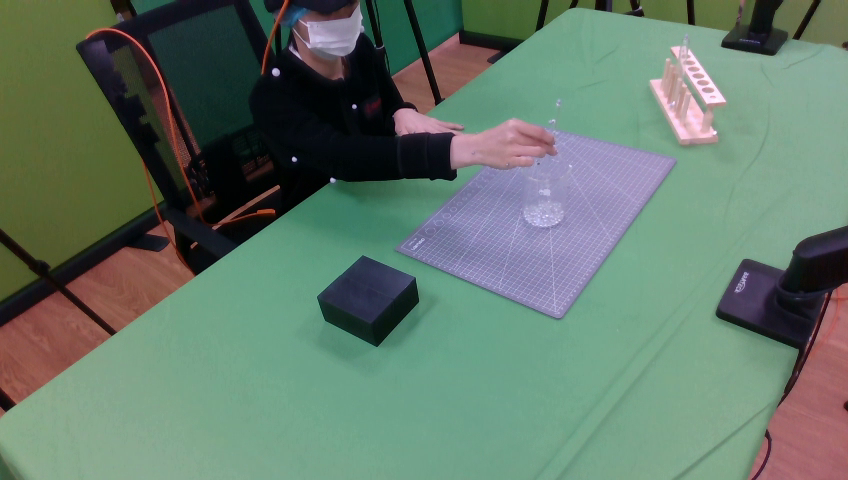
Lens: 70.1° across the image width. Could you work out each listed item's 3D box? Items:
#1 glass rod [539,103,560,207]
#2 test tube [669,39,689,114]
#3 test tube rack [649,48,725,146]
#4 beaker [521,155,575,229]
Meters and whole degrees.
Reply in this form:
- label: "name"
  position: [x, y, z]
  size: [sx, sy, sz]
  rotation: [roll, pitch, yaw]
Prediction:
- label: "glass rod"
  position: [0.194, -0.126, 0.941]
  size: [0.008, 0.200, 0.008]
  rotation: [0, 45, 1]
- label: "test tube"
  position: [0.482, -0.308, 1.146]
  size: [0.017, 0.151, 0.017]
  rotation: [-5, 42, 5]
- label: "test tube rack"
  position: [0.508, -0.285, 1.186]
  size: [0.067, 0.085, 0.241]
  rotation: [-4, 40, 6]
- label: "beaker"
  position: [0.197, -0.075, 0.969]
  size: [0.084, 0.101, 0.073]
  rotation: [-6, 40, 2]
